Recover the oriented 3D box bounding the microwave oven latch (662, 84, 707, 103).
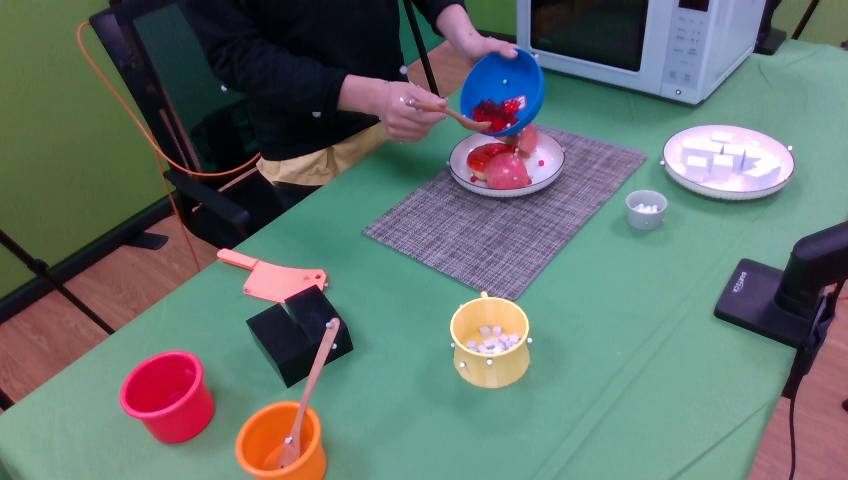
[{"bbox_3d":[0.517,-0.296,1.204,0.078,0.029,0.030,27,52,35],"label":"microwave oven latch"}]

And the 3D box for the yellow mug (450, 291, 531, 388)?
[{"bbox_3d":[0.085,0.120,0.786,0.100,0.064,0.130,-7,39,1],"label":"yellow mug"}]

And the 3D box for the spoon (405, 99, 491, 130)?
[{"bbox_3d":[0.037,-0.189,0.904,0.041,0.021,0.195,8,0,41],"label":"spoon"}]

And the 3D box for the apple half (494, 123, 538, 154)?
[{"bbox_3d":[0.176,-0.197,1.114,0.080,0.053,0.075,29,12,34],"label":"apple half"}]

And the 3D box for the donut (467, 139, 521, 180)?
[{"bbox_3d":[0.126,-0.147,1.091,0.099,0.048,0.098,-4,43,4],"label":"donut"}]

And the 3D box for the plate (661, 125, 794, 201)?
[{"bbox_3d":[0.513,-0.128,1.035,0.207,0.039,0.206,-4,40,4],"label":"plate"}]

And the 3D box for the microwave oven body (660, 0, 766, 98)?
[{"bbox_3d":[0.472,-0.513,1.317,0.438,0.261,0.327,26,51,34],"label":"microwave oven body"}]

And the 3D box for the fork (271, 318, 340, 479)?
[{"bbox_3d":[-0.132,0.186,0.676,0.028,0.019,0.207,18,90,28],"label":"fork"}]

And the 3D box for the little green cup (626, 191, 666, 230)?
[{"bbox_3d":[0.352,-0.046,0.963,0.061,0.039,0.061,-4,40,4],"label":"little green cup"}]

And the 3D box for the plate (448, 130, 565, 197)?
[{"bbox_3d":[0.150,-0.138,1.097,0.209,0.038,0.208,-4,40,4],"label":"plate"}]

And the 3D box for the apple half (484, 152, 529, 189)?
[{"bbox_3d":[0.144,-0.117,1.032,0.081,0.033,0.081,2,77,-11],"label":"apple half"}]

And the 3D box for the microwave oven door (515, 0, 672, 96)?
[{"bbox_3d":[0.344,-0.455,1.259,0.353,0.245,0.039,26,51,33],"label":"microwave oven door"}]

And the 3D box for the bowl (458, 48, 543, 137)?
[{"bbox_3d":[0.141,-0.236,1.019,0.150,0.077,0.151,-9,73,32],"label":"bowl"}]

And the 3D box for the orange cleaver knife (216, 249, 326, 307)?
[{"bbox_3d":[-0.248,0.058,0.945,0.210,0.012,0.077,13,50,20],"label":"orange cleaver knife"}]
